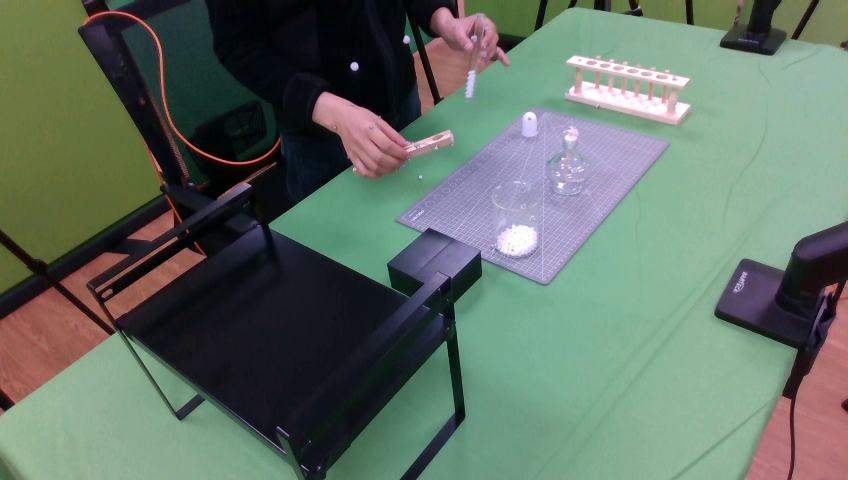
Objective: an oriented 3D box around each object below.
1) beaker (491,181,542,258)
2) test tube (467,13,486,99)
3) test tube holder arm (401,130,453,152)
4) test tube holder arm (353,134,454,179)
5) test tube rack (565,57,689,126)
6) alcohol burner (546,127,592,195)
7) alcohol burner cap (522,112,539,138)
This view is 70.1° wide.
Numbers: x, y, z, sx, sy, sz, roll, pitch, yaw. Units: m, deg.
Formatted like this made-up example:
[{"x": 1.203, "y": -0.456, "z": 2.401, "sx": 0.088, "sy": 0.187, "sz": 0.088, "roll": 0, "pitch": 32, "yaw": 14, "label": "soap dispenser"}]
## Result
[{"x": 0.144, "y": -0.030, "z": 0.925, "sx": 0.073, "sy": 0.101, "sz": 0.084, "roll": 23, "pitch": 48, "yaw": 31, "label": "beaker"}, {"x": 0.091, "y": -0.319, "z": 1.062, "sx": 0.017, "sy": 0.150, "sz": 0.017, "roll": 4, "pitch": 34, "yaw": -3, "label": "test tube"}, {"x": 0.004, "y": -0.148, "z": 0.940, "sx": 0.087, "sy": 0.015, "sz": 0.010, "roll": -18, "pitch": 41, "yaw": 22, "label": "test tube holder arm"}, {"x": -0.036, "y": -0.131, "z": 0.952, "sx": 0.178, "sy": 0.015, "sz": 0.013, "roll": -19, "pitch": 41, "yaw": 21, "label": "test tube holder arm"}, {"x": 0.412, "y": -0.311, "z": 1.230, "sx": 0.240, "sy": 0.085, "sz": 0.067, "roll": 24, "pitch": 49, "yaw": 32, "label": "test tube rack"}, {"x": 0.246, "y": -0.137, "z": 1.023, "sx": 0.078, "sy": 0.119, "sz": 0.077, "roll": -4, "pitch": 38, "yaw": 4, "label": "alcohol burner"}, {"x": 0.210, "y": -0.230, "z": 1.195, "sx": 0.034, "sy": 0.048, "sz": 0.033, "roll": -6, "pitch": 41, "yaw": 5, "label": "alcohol burner cap"}]
